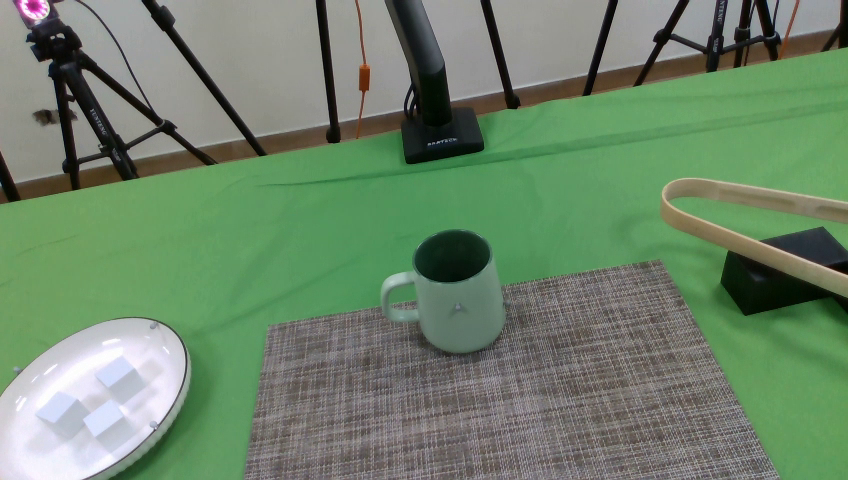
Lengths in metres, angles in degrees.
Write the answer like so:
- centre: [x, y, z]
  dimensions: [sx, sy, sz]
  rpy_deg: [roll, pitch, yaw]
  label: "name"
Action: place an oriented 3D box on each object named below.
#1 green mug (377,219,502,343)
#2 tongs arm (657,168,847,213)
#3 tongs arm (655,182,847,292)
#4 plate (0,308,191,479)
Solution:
- centre: [0.014, 0.046, 0.615]
  dimensions: [0.125, 0.106, 0.091]
  rpy_deg: [-11, 43, 1]
  label: "green mug"
- centre: [0.427, -0.021, 0.586]
  dimensions: [0.382, 0.027, 0.050]
  rpy_deg: [18, 54, 28]
  label: "tongs arm"
- centre: [0.381, 0.029, 0.546]
  dimensions: [0.384, 0.028, 0.028]
  rpy_deg: [29, 63, 36]
  label: "tongs arm"
- centre: [-0.342, 0.160, 0.628]
  dimensions: [0.209, 0.038, 0.207]
  rpy_deg: [-6, 42, 6]
  label: "plate"
